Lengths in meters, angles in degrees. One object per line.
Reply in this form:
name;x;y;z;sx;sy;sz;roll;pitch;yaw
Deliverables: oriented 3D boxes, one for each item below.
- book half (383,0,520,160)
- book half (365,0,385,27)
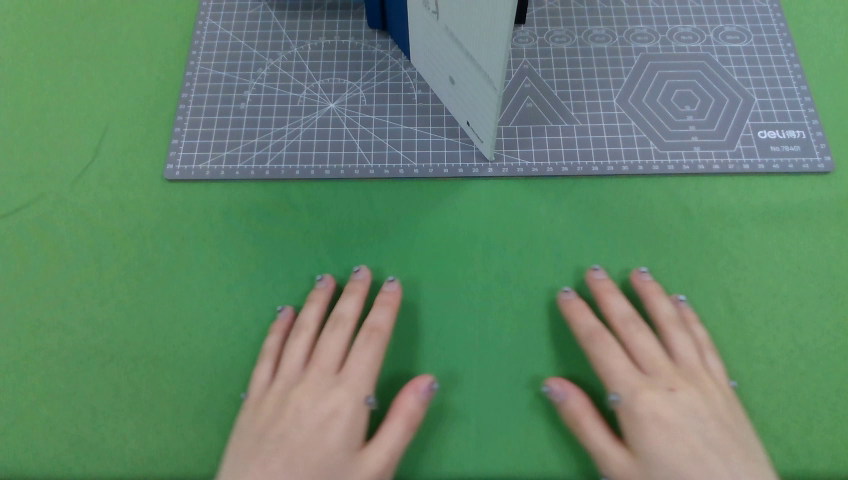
book half;0.008;-0.152;0.340;0.007;0.211;0.142;-29;67;-14
book half;-0.025;-0.270;0.395;0.016;0.212;0.147;9;65;5
